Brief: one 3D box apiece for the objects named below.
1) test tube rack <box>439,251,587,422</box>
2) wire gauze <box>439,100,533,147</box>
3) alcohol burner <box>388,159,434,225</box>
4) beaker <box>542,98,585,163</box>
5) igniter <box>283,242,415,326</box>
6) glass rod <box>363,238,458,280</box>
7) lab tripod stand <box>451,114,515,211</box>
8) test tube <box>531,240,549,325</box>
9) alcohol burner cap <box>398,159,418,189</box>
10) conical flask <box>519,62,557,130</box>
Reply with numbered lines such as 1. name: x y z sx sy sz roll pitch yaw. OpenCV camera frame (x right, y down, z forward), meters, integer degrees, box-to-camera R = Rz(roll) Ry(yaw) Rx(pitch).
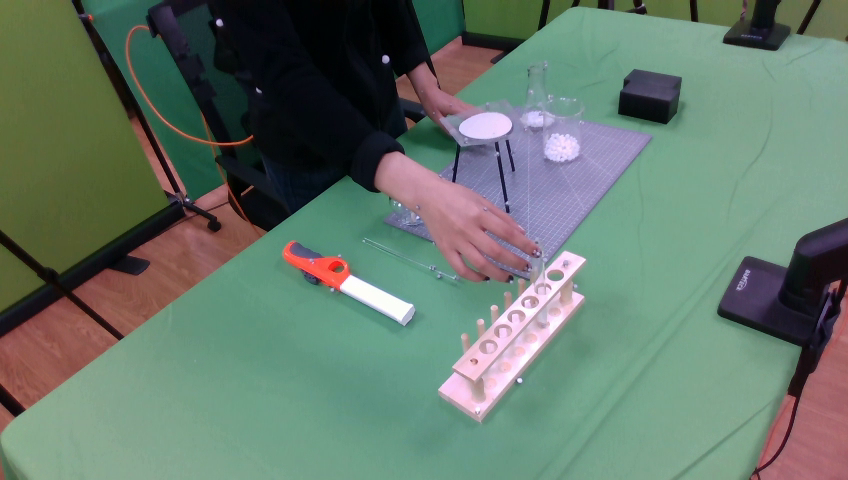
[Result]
1. test tube rack: 0.118 0.111 0.780 0.066 0.085 0.243 26 51 35
2. wire gauze: 0.100 -0.190 0.994 0.125 0.011 0.120 -15 39 -7
3. alcohol burner: -0.023 -0.084 1.013 0.078 0.119 0.077 -4 39 4
4. beaker: 0.255 -0.200 1.107 0.073 0.101 0.084 9 43 21
5. igniter: -0.126 0.062 0.931 0.274 0.025 0.057 24 61 33
6. glass rod: -0.026 0.029 0.965 0.198 0.008 0.008 21 49 35
7. lab tripod stand: 0.113 -0.140 1.037 0.148 0.132 0.147 -6 38 5
8. test tube: 0.147 0.058 0.761 0.017 0.151 0.017 -8 43 8
9. alcohol burner cap: -0.028 -0.111 0.988 0.034 0.048 0.033 -3 46 4
10. conical flask: 0.225 -0.287 1.198 0.075 0.122 0.075 -6 40 5
